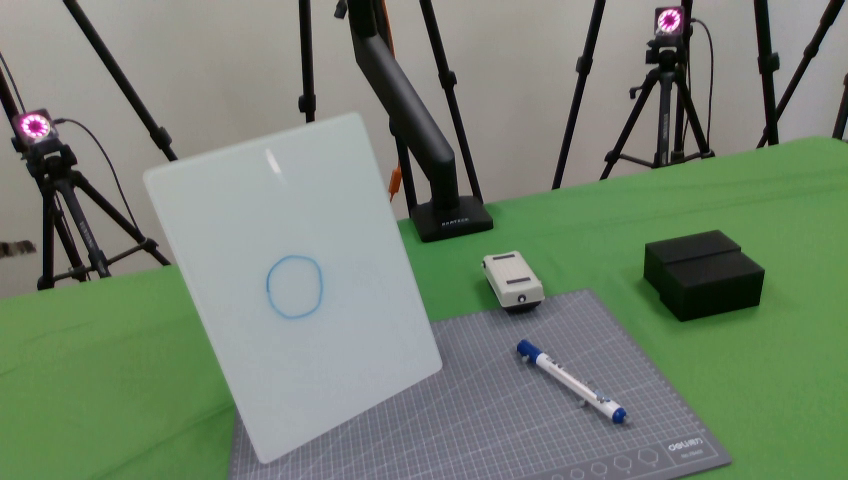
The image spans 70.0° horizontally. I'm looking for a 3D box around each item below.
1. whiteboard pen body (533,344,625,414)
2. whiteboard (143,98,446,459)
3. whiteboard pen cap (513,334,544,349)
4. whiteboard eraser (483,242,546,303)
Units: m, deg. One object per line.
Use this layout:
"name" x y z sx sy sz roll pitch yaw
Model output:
"whiteboard pen body" 0.152 0.137 0.633 0.017 0.017 0.139 -23 33 -25
"whiteboard" -0.140 0.030 0.661 0.217 0.306 0.143 -23 14 -24
"whiteboard pen cap" 0.117 0.114 0.678 0.033 0.018 0.018 -1 30 14
"whiteboard eraser" 0.116 0.042 0.789 0.055 0.042 0.111 -12 26 -4
